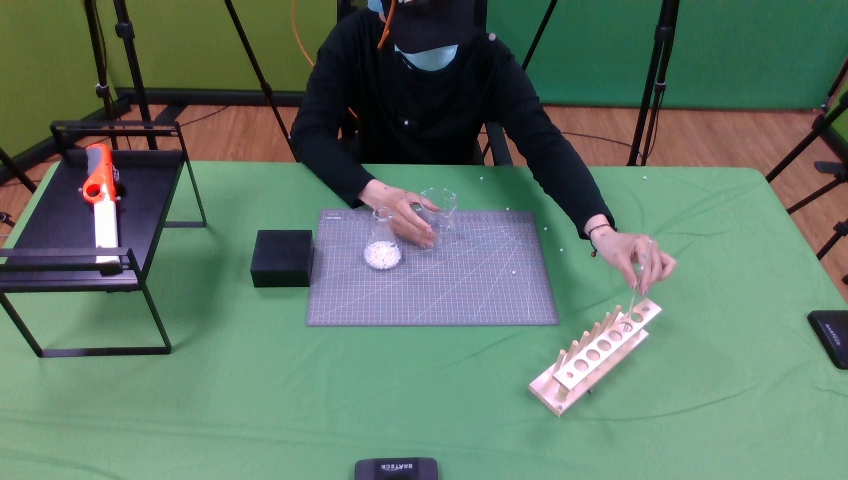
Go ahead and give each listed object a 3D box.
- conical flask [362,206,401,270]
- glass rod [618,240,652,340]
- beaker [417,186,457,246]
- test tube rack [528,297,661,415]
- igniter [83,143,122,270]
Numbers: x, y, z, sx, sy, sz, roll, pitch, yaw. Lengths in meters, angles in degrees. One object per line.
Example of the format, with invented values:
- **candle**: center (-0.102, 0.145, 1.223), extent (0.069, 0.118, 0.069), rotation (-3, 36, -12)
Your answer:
- **conical flask**: center (-0.078, -0.008, 1.127), extent (0.075, 0.122, 0.075), rotation (2, 46, -2)
- **glass rod**: center (0.335, 0.090, 0.971), extent (0.008, 0.200, 0.008), rotation (5, 27, -3)
- **beaker**: center (0.025, -0.042, 1.183), extent (0.074, 0.101, 0.083), rotation (-19, 51, -20)
- **test tube rack**: center (0.285, 0.178, 1.005), extent (0.242, 0.085, 0.066), rotation (-31, 56, -29)
- **igniter**: center (-0.508, -0.063, 0.962), extent (0.057, 0.025, 0.274), rotation (-14, 53, -18)
